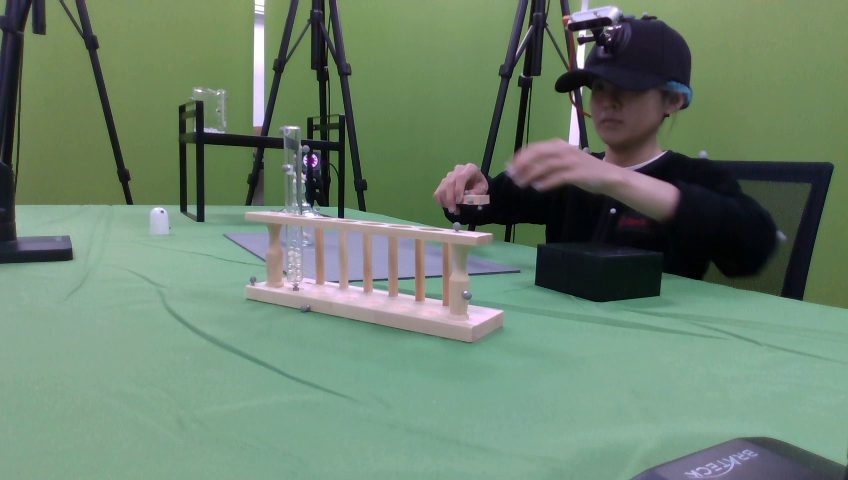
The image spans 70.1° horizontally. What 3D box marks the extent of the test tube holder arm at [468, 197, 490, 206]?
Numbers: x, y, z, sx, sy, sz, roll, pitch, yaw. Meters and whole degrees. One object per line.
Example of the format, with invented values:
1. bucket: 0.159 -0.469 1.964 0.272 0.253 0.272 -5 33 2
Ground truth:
1. test tube holder arm: 0.076 -0.058 0.906 0.010 0.015 0.087 3 3 -20

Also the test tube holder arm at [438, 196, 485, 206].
1. test tube holder arm: 0.055 -0.062 0.946 0.013 0.015 0.177 3 3 -20

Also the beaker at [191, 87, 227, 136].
1. beaker: -0.476 -0.284 1.345 0.074 0.100 0.083 -3 10 -37

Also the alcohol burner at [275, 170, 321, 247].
1. alcohol burner: -0.199 -0.049 0.948 0.078 0.119 0.078 1 7 0

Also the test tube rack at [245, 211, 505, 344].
1. test tube rack: -0.049 0.025 0.547 0.241 0.085 0.067 7 8 29

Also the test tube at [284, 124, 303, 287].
1. test tube: -0.120 -0.030 0.558 0.017 0.150 0.017 2 10 0

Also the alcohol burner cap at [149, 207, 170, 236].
1. alcohol burner cap: -0.445 -0.032 1.019 0.034 0.048 0.034 4 8 0
